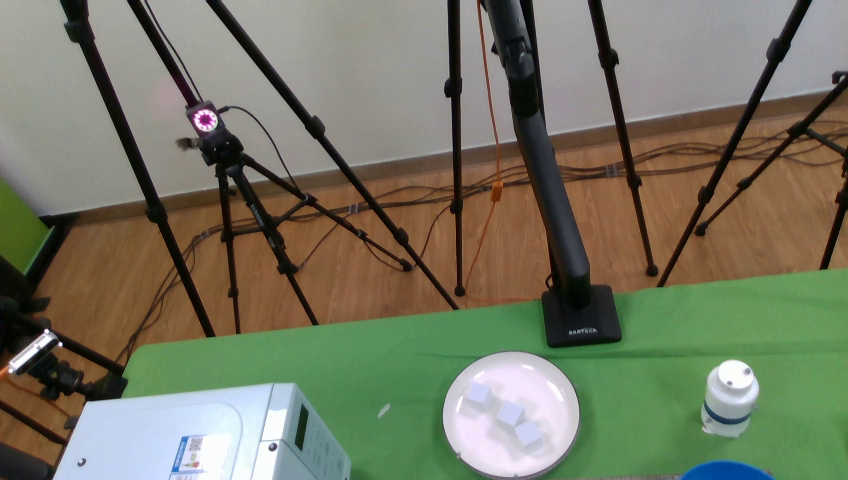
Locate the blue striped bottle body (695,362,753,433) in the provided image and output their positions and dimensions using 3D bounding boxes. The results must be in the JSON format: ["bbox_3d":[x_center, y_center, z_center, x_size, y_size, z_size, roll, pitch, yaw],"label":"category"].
[{"bbox_3d":[0.409,0.209,0.825,0.063,0.122,0.062,-8,46,9],"label":"blue striped bottle body"}]

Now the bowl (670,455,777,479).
[{"bbox_3d":[0.367,0.348,0.732,0.151,0.077,0.150,-9,46,10],"label":"bowl"}]

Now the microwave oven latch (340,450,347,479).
[{"bbox_3d":[-0.131,0.351,0.892,0.030,0.030,0.078,-8,47,9],"label":"microwave oven latch"}]

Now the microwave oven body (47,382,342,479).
[{"bbox_3d":[-0.300,0.435,0.728,0.325,0.263,0.437,-8,47,9],"label":"microwave oven body"}]

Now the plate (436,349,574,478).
[{"bbox_3d":[0.123,0.264,0.922,0.207,0.039,0.205,-8,46,9],"label":"plate"}]

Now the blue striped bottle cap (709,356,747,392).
[{"bbox_3d":[0.396,0.174,0.789,0.044,0.021,0.044,-7,46,8],"label":"blue striped bottle cap"}]

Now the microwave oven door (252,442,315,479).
[{"bbox_3d":[-0.159,0.441,0.672,0.039,0.246,0.352,-9,46,10],"label":"microwave oven door"}]
